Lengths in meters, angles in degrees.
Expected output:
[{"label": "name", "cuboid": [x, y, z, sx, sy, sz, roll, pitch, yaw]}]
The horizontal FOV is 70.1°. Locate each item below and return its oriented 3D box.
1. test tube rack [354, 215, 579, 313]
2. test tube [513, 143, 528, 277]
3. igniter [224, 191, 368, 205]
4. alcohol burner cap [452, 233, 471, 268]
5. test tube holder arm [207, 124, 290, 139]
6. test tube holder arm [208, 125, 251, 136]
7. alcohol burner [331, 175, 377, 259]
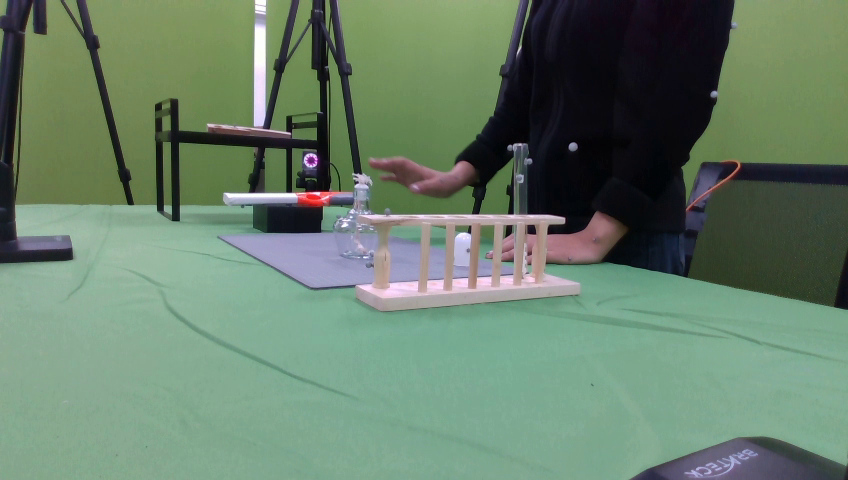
[{"label": "test tube rack", "cuboid": [0.053, 0.019, 0.635, 0.243, 0.085, 0.066, -1, 8, -29]}, {"label": "test tube", "cuboid": [0.108, -0.033, 0.677, 0.017, 0.150, 0.017, -1, 8, 1]}, {"label": "igniter", "cuboid": [-0.237, -0.079, 1.157, 0.278, 0.025, 0.057, -2, 21, -31]}, {"label": "alcohol burner cap", "cuboid": [0.053, 0.014, 0.823, 0.034, 0.048, 0.034, 3, 6, 0]}, {"label": "test tube holder arm", "cuboid": [-0.381, -0.237, 1.327, 0.179, 0.015, 0.013, 0, 41, -32]}, {"label": "test tube holder arm", "cuboid": [-0.418, -0.234, 1.299, 0.088, 0.015, 0.010, 1, 41, -31]}, {"label": "alcohol burner", "cuboid": [-0.091, -0.033, 0.855, 0.078, 0.119, 0.078, 4, 7, 0]}]
